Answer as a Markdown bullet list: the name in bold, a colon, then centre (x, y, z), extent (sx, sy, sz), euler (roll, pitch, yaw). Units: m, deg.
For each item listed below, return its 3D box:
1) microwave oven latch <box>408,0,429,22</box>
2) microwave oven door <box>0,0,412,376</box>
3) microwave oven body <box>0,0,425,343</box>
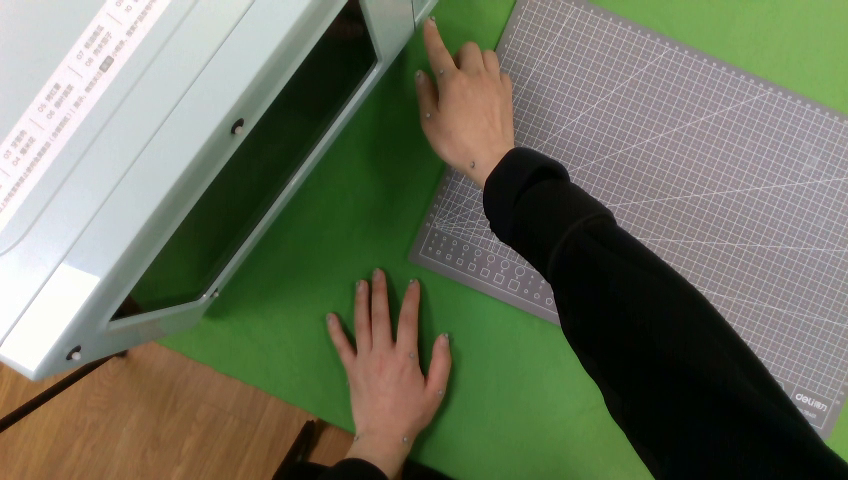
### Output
- **microwave oven latch**: centre (0.003, -0.243, 0.558), extent (0.030, 0.029, 0.079), euler (40, 92, -1)
- **microwave oven door**: centre (-0.134, -0.069, 0.462), extent (0.039, 0.244, 0.356), euler (37, 91, 0)
- **microwave oven body**: centre (-0.223, -0.191, 0.465), extent (0.326, 0.260, 0.441), euler (37, 92, -1)
